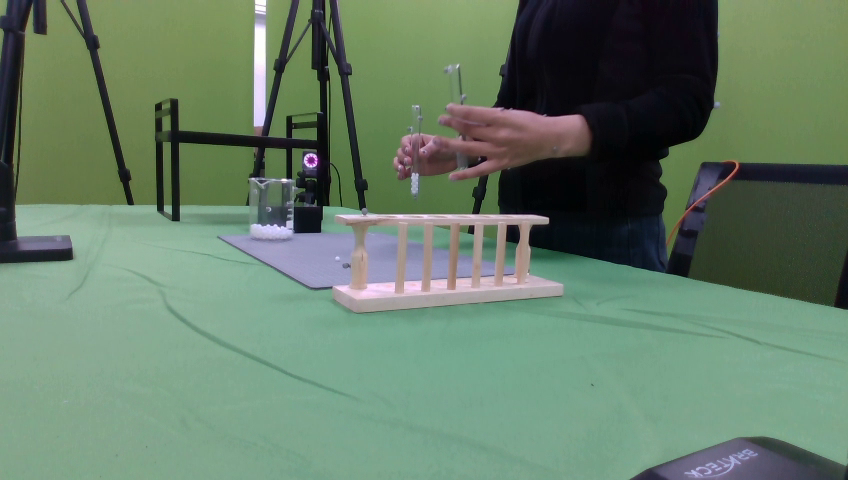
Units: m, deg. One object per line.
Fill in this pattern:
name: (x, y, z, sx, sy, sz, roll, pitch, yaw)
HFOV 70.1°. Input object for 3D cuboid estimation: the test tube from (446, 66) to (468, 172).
test tube: (0.047, -0.166, 0.843, 0.017, 0.150, 0.017, -7, 25, 3)

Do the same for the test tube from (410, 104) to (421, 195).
test tube: (-0.015, -0.149, 1.003, 0.017, 0.150, 0.017, 1, 13, 0)

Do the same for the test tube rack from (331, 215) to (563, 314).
test tube rack: (0.031, 0.019, 0.626, 0.243, 0.085, 0.066, -1, 8, -28)

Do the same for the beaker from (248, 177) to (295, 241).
beaker: (-0.252, -0.051, 0.992, 0.074, 0.100, 0.084, 3, 9, 6)
